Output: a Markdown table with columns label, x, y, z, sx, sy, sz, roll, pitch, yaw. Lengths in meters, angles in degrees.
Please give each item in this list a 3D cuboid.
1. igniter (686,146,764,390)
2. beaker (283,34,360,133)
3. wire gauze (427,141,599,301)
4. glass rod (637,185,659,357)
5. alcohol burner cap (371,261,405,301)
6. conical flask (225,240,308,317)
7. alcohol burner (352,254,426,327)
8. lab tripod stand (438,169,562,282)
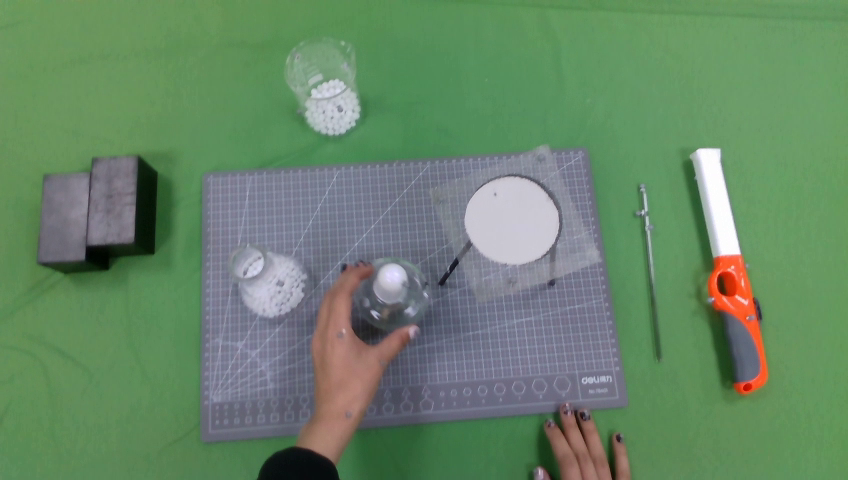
| label | x | y | z | sx | sy | sz | roll | pitch | yaw |
| --- | --- | --- | --- | --- | --- | --- | --- | --- | --- |
| igniter | 0.335 | 0.026 | 0.677 | 0.057 | 0.025 | 0.275 | -2 | 76 | -13 |
| beaker | -0.109 | -0.172 | 0.679 | 0.074 | 0.100 | 0.084 | 44 | 79 | 9 |
| wire gauze | 0.081 | -0.018 | 0.555 | 0.125 | 0.011 | 0.121 | -20 | 77 | -6 |
| glass rod | 0.251 | 0.032 | 0.682 | 0.008 | 0.008 | 0.198 | 0 | 75 | -1 |
| alcohol burner cap | -0.033 | 0.037 | 0.581 | 0.034 | 0.048 | 0.033 | 3 | 69 | -8 |
| conical flask | -0.164 | 0.033 | 0.612 | 0.075 | 0.122 | 0.075 | 0 | 75 | -1 |
| alcohol burner | -0.035 | 0.048 | 0.615 | 0.078 | 0.119 | 0.077 | 1 | 74 | -3 |
| lab tripod stand | 0.080 | -0.004 | 0.621 | 0.148 | 0.132 | 0.147 | 0 | 78 | -1 |
